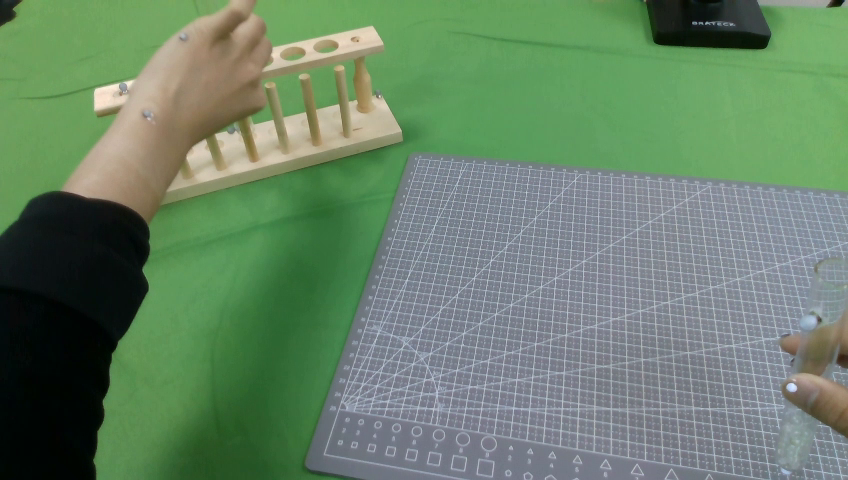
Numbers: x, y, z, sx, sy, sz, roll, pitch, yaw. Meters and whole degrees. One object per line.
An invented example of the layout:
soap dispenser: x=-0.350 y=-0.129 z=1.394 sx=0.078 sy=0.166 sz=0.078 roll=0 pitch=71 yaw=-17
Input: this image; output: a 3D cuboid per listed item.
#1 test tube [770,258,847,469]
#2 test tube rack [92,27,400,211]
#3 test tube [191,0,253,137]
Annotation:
test tube: x=0.174 y=0.064 z=0.276 sx=0.017 sy=0.152 sz=0.017 roll=-11 pitch=41 yaw=10
test tube rack: x=-0.149 y=-0.110 z=0.538 sx=0.243 sy=0.086 sz=0.066 roll=-17 pitch=49 yaw=-12
test tube: x=-0.158 y=-0.143 z=0.469 sx=0.017 sy=0.152 sz=0.017 roll=-1 pitch=47 yaw=2
